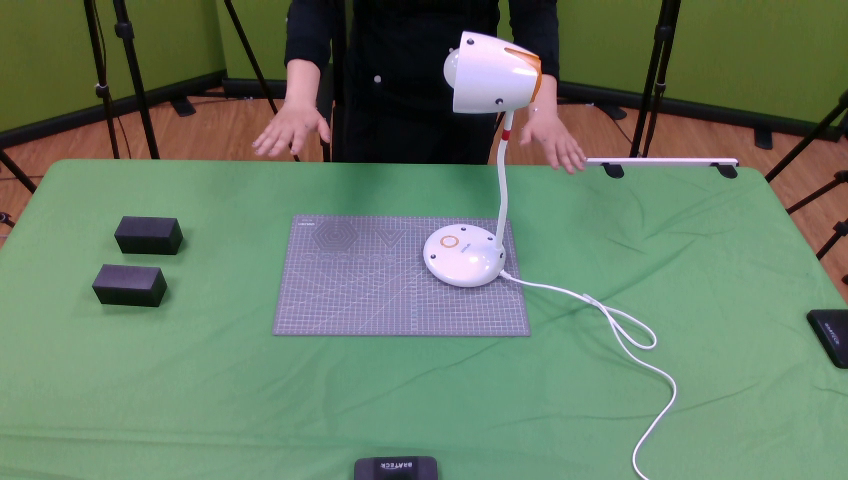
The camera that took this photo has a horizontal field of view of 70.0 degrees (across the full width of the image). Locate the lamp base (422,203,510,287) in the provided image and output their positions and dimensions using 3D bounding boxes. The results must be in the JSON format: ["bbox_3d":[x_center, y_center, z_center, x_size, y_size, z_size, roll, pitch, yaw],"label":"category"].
[{"bbox_3d":[0.092,-0.021,1.111,0.179,0.181,0.160,23,49,14],"label":"lamp base"}]

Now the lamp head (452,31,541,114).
[{"bbox_3d":[0.102,-0.228,0.858,0.123,0.113,0.112,11,46,0],"label":"lamp head"}]
